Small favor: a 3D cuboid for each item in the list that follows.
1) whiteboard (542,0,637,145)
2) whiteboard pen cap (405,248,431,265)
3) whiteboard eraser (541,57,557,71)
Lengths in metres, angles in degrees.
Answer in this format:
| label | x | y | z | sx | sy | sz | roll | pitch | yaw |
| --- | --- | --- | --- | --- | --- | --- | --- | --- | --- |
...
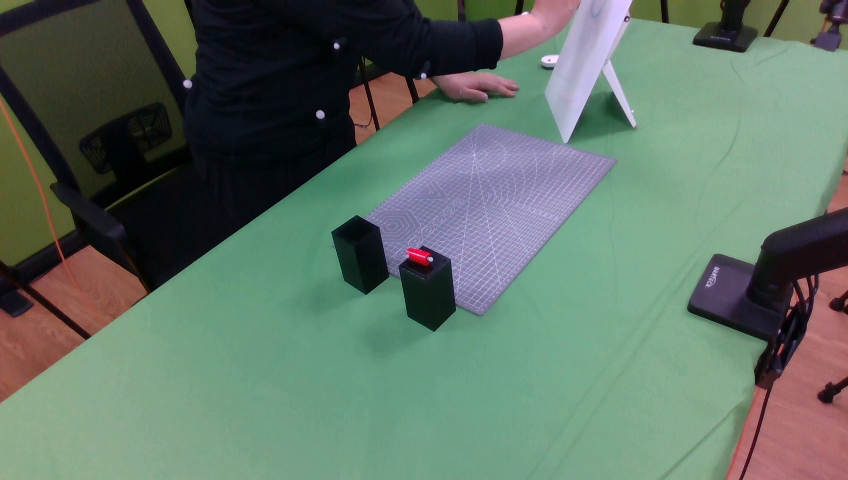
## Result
| label | x | y | z | sx | sy | sz | roll | pitch | yaw |
| --- | --- | --- | --- | --- | --- | --- | --- | --- | --- |
| whiteboard | 0.366 | -0.351 | 1.160 | 0.144 | 0.305 | 0.216 | 10 | 39 | -10 |
| whiteboard pen cap | -0.008 | 0.021 | 0.794 | 0.032 | 0.017 | 0.017 | 16 | 45 | 28 |
| whiteboard eraser | 0.324 | -0.412 | 1.408 | 0.101 | 0.019 | 0.041 | 2 | 42 | 11 |
